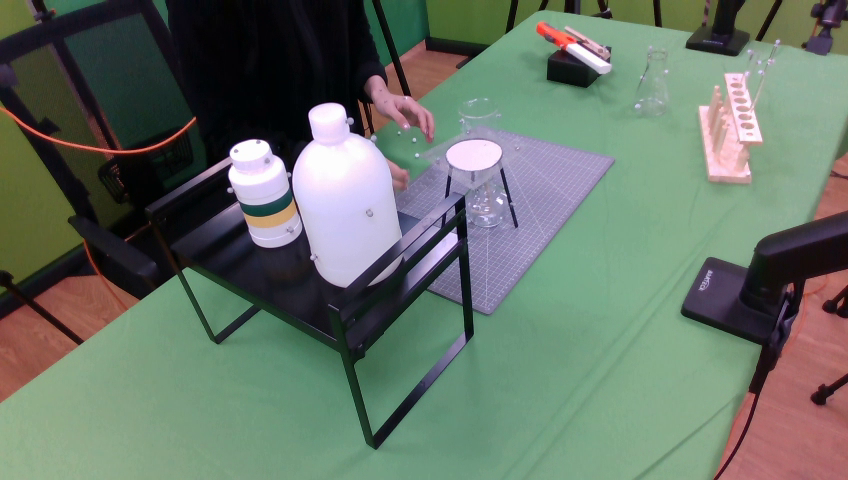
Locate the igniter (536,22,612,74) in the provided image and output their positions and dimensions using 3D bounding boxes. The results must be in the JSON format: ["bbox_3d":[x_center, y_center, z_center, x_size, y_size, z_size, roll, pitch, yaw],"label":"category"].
[{"bbox_3d":[0.330,-0.439,1.366,0.057,0.025,0.274,-11,41,-20],"label":"igniter"}]

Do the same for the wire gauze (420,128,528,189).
[{"bbox_3d":[0.075,-0.132,0.926,0.122,0.011,0.124,-34,47,-26],"label":"wire gauze"}]

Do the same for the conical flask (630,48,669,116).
[{"bbox_3d":[0.456,-0.317,1.205,0.075,0.122,0.075,-4,41,4],"label":"conical flask"}]

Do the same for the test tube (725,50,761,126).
[{"bbox_3d":[0.570,-0.269,1.086,0.017,0.151,0.017,-1,45,2],"label":"test tube"}]

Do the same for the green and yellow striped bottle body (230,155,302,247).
[{"bbox_3d":[-0.188,-0.055,0.714,0.063,0.120,0.063,-4,41,4],"label":"green and yellow striped bottle body"}]

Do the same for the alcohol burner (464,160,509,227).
[{"bbox_3d":[0.102,-0.081,0.982,0.078,0.119,0.077,-4,43,4],"label":"alcohol burner"}]

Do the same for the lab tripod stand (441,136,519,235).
[{"bbox_3d":[0.083,-0.086,0.976,0.148,0.132,0.147,-4,42,4],"label":"lab tripod stand"}]

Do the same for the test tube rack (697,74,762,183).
[{"bbox_3d":[0.547,-0.208,1.095,0.066,0.085,0.242,5,42,15],"label":"test tube rack"}]

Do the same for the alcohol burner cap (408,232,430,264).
[{"bbox_3d":[-0.010,0.010,0.947,0.034,0.048,0.033,-4,41,4],"label":"alcohol burner cap"}]

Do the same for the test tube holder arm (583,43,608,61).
[{"bbox_3d":[0.379,-0.420,1.341,0.010,0.015,0.087,-39,41,10],"label":"test tube holder arm"}]

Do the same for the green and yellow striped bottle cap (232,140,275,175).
[{"bbox_3d":[-0.192,-0.094,0.680,0.045,0.020,0.045,-5,39,5],"label":"green and yellow striped bottle cap"}]

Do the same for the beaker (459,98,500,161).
[{"bbox_3d":[0.104,-0.208,1.142,0.074,0.101,0.083,-20,42,-15],"label":"beaker"}]

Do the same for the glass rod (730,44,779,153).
[{"bbox_3d":[0.555,-0.234,1.021,0.008,0.200,0.008,2,40,-1],"label":"glass rod"}]

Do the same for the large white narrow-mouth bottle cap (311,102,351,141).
[{"bbox_3d":[-0.089,-0.114,0.579,0.038,0.024,0.037,-4,40,3],"label":"large white narrow-mouth bottle cap"}]

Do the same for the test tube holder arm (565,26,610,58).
[{"bbox_3d":[0.369,-0.450,1.373,0.013,0.015,0.177,-39,41,10],"label":"test tube holder arm"}]

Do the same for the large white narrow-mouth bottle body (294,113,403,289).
[{"bbox_3d":[-0.082,-0.047,0.634,0.102,0.195,0.101,-4,40,4],"label":"large white narrow-mouth bottle body"}]
